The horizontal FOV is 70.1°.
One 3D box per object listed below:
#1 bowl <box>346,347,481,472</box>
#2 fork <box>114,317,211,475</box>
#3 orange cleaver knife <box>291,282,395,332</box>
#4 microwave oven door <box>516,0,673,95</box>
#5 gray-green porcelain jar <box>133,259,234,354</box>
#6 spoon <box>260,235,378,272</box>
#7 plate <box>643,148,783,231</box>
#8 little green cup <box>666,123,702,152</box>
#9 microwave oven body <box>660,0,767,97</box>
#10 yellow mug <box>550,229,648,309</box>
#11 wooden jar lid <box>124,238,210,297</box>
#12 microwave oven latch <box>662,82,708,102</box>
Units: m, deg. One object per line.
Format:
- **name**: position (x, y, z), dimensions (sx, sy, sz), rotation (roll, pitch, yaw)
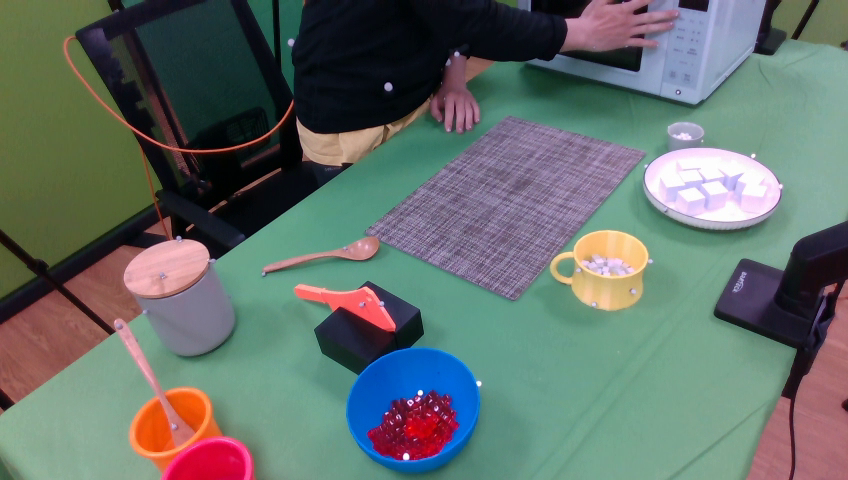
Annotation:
- **bowl**: position (-0.008, 0.205, 0.691), dimensions (0.151, 0.077, 0.150), rotation (-4, 40, 4)
- **fork**: position (-0.309, 0.180, 0.708), dimensions (0.028, 0.018, 0.207), rotation (-29, 89, -26)
- **orange cleaver knife**: position (-0.116, 0.091, 0.835), dimensions (0.209, 0.077, 0.012), rotation (1, 32, 47)
- **microwave oven door**: position (0.344, -0.458, 1.257), dimensions (0.353, 0.245, 0.039), rotation (26, 51, 33)
- **gray-green porcelain jar**: position (-0.328, 0.087, 0.836), dimensions (0.106, 0.127, 0.105), rotation (-4, 41, 4)
- **spoon**: position (-0.168, 0.024, 0.966), dimensions (0.194, 0.022, 0.041), rotation (-10, 58, -3)
- **plate**: position (0.464, -0.080, 0.986), dimensions (0.207, 0.039, 0.206), rotation (-4, 41, 4)
- **little green cup**: position (0.472, -0.183, 1.102), dimensions (0.061, 0.039, 0.061), rotation (-5, 40, 5)
- **microwave oven body**: position (0.473, -0.516, 1.313), dimensions (0.438, 0.261, 0.327), rotation (26, 51, 34)
- **yellow mug**: position (0.245, 0.039, 0.857), dimensions (0.130, 0.064, 0.099), rotation (2, 42, 11)
- **wooden jar lid**: position (-0.335, 0.039, 0.794), dimensions (0.108, 0.021, 0.108), rotation (-2, 40, 2)
- **microwave oven latch**: position (0.518, -0.298, 1.202), dimensions (0.078, 0.029, 0.030), rotation (28, 53, 35)
